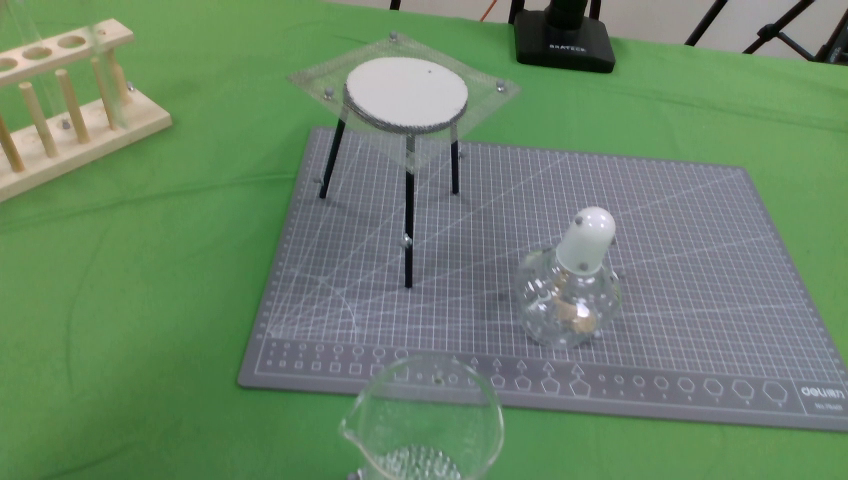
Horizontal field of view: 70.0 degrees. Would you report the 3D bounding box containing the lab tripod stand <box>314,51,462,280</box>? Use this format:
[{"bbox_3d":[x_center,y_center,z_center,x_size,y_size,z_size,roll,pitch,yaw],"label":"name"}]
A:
[{"bbox_3d":[-0.021,-0.064,0.476,0.148,0.132,0.147,5,47,-5],"label":"lab tripod stand"}]

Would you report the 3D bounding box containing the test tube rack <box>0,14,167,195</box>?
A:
[{"bbox_3d":[-0.348,-0.100,0.502,0.066,0.086,0.242,35,52,23],"label":"test tube rack"}]

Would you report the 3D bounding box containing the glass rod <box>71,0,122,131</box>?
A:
[{"bbox_3d":[-0.168,-0.129,0.284,0.008,0.201,0.008,6,50,-7],"label":"glass rod"}]

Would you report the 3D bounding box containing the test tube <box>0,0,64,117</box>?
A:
[{"bbox_3d":[-0.330,-0.168,0.499,0.017,0.151,0.017,2,44,-2],"label":"test tube"}]

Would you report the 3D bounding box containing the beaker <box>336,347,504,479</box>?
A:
[{"bbox_3d":[-0.005,0.118,0.335,0.084,0.101,0.073,-2,47,-8],"label":"beaker"}]

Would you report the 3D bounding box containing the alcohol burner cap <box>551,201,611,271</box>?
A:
[{"bbox_3d":[0.106,-0.005,0.402,0.034,0.048,0.033,4,51,-4],"label":"alcohol burner cap"}]

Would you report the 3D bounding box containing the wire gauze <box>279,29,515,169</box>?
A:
[{"bbox_3d":[-0.017,-0.110,0.427,0.124,0.011,0.121,36,53,22],"label":"wire gauze"}]

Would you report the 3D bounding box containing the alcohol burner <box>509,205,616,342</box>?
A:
[{"bbox_3d":[0.102,0.019,0.429,0.078,0.120,0.077,5,45,-5],"label":"alcohol burner"}]
